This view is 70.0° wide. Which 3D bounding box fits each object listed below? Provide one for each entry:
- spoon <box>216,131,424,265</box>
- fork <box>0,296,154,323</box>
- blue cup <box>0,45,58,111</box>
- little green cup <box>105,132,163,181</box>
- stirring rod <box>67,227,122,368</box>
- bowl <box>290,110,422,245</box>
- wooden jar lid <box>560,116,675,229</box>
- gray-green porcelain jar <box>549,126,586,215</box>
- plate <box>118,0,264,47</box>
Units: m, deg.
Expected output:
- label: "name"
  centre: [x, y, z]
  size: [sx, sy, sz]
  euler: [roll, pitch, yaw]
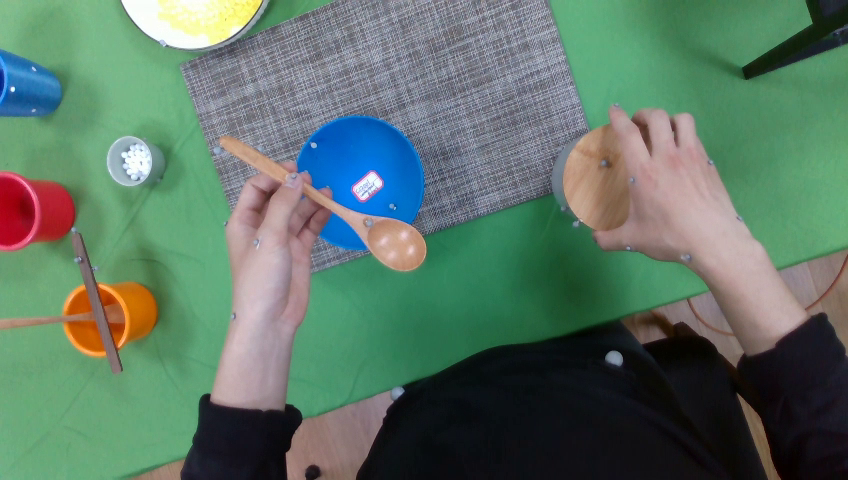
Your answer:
- label: "spoon"
  centre: [-0.085, -0.038, 0.506]
  size: [0.194, 0.021, 0.041]
  euler: [31, 96, -13]
- label: "fork"
  centre: [-0.442, 0.089, 0.737]
  size: [0.208, 0.018, 0.028]
  euler: [-3, 99, -35]
- label: "blue cup"
  centre: [-0.514, -0.197, 0.745]
  size: [0.092, 0.100, 0.093]
  euler: [1, 96, 9]
- label: "little green cup"
  centre: [-0.364, -0.104, 0.765]
  size: [0.061, 0.038, 0.061]
  euler: [1, 96, 8]
- label: "stirring rod"
  centre: [-0.395, 0.069, 0.727]
  size: [0.014, 0.006, 0.176]
  euler: [-16, 93, 7]
- label: "bowl"
  centre: [-0.072, -0.071, 0.707]
  size: [0.151, 0.077, 0.151]
  euler: [1, 96, 8]
- label: "wooden jar lid"
  centre: [0.186, -0.065, 0.588]
  size: [0.108, 0.020, 0.108]
  euler: [0, 96, 5]
- label: "gray-green porcelain jar"
  centre: [0.191, -0.073, 0.649]
  size: [0.106, 0.126, 0.106]
  euler: [1, 97, 5]
- label: "plate"
  centre: [-0.278, -0.337, 0.734]
  size: [0.209, 0.038, 0.209]
  euler: [1, 95, 7]
